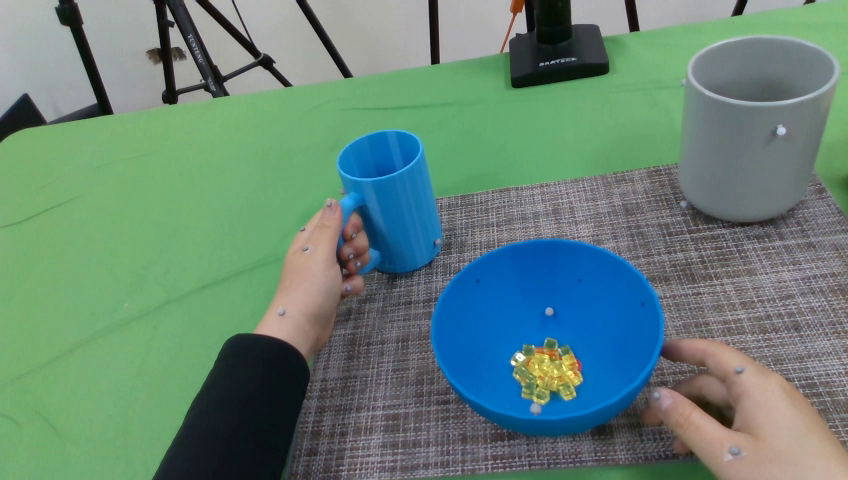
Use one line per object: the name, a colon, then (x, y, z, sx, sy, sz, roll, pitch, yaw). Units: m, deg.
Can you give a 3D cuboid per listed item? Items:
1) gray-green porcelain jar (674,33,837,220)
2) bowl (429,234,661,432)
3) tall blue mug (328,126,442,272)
gray-green porcelain jar: (0.266, -0.089, 0.503, 0.106, 0.128, 0.105, -8, 43, 8)
bowl: (0.084, 0.075, 0.422, 0.151, 0.077, 0.150, -8, 43, 8)
tall blue mug: (-0.032, -0.026, 0.537, 0.077, 0.109, 0.106, 0, 43, 14)
